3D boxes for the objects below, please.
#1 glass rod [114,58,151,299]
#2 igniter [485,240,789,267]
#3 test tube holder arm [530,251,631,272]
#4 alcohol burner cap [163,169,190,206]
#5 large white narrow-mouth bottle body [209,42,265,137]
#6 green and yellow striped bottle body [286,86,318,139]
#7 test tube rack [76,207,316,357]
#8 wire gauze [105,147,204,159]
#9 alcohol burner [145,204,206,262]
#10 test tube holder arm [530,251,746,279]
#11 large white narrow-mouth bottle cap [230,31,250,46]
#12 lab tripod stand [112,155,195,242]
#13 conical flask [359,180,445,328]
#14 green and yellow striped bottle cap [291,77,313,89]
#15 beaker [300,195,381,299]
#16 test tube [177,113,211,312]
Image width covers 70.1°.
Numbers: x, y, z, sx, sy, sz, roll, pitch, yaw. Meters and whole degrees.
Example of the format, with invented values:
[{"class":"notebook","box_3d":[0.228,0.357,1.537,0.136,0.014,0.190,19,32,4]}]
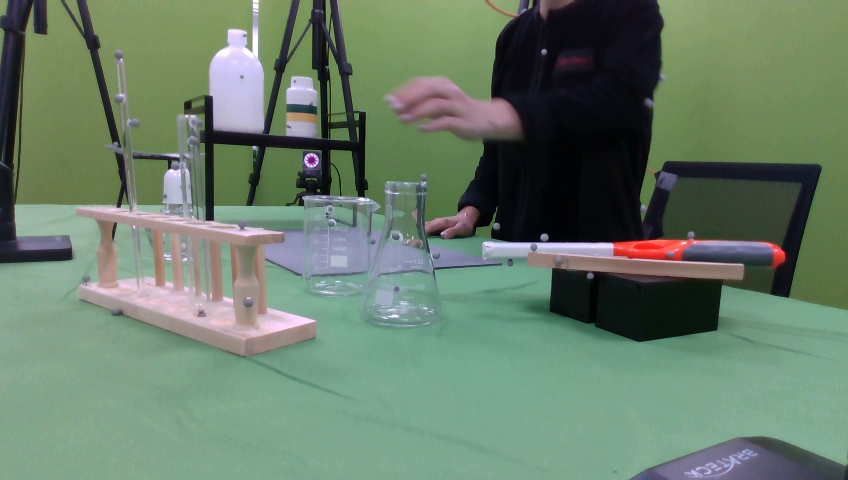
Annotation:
[{"class":"glass rod","box_3d":[-0.236,-0.044,0.492,0.008,0.199,0.008,0,15,0]},{"class":"igniter","box_3d":[0.197,0.012,0.585,0.276,0.025,0.057,1,5,12]},{"class":"test tube holder arm","box_3d":[0.139,0.019,0.538,0.087,0.015,0.010,4,7,13]},{"class":"alcohol burner cap","box_3d":[-0.320,-0.067,0.782,0.034,0.048,0.034,1,7,0]},{"class":"large white narrow-mouth bottle body","box_3d":[-0.361,-0.303,1.175,0.102,0.194,0.102,4,6,0]},{"class":"green and yellow striped bottle body","box_3d":[-0.251,-0.270,1.245,0.063,0.119,0.063,2,7,0]},{"class":"test tube rack","box_3d":[-0.196,0.023,0.500,0.241,0.085,0.067,8,9,36]},{"class":"wire gauze","box_3d":[-0.407,-0.131,0.928,0.125,0.011,0.121,2,6,-11]},{"class":"alcohol burner","box_3d":[-0.321,-0.032,0.788,0.078,0.119,0.078,0,7,0]},{"class":"test tube holder arm","box_3d":[0.182,0.022,0.523,0.178,0.015,0.013,3,7,12]},{"class":"large white narrow-mouth bottle cap","box_3d":[-0.354,-0.388,1.167,0.038,0.024,0.037,4,6,0]},{"class":"lab tripod stand","box_3d":[-0.405,-0.064,0.931,0.148,0.131,0.148,1,7,0]},{"class":"conical flask","box_3d":[-0.017,0.010,0.522,0.075,0.122,0.075,2,7,0]},{"class":"green and yellow striped bottle cap","box_3d":[-0.249,-0.321,1.237,0.045,0.020,0.045,3,5,0]},{"class":"beaker","box_3d":[-0.087,0.006,0.626,0.084,0.100,0.074,1,8,-17]},{"class":"test tube","box_3d":[-0.174,-0.020,0.458,0.017,0.150,0.017,-2,5,0]}]
